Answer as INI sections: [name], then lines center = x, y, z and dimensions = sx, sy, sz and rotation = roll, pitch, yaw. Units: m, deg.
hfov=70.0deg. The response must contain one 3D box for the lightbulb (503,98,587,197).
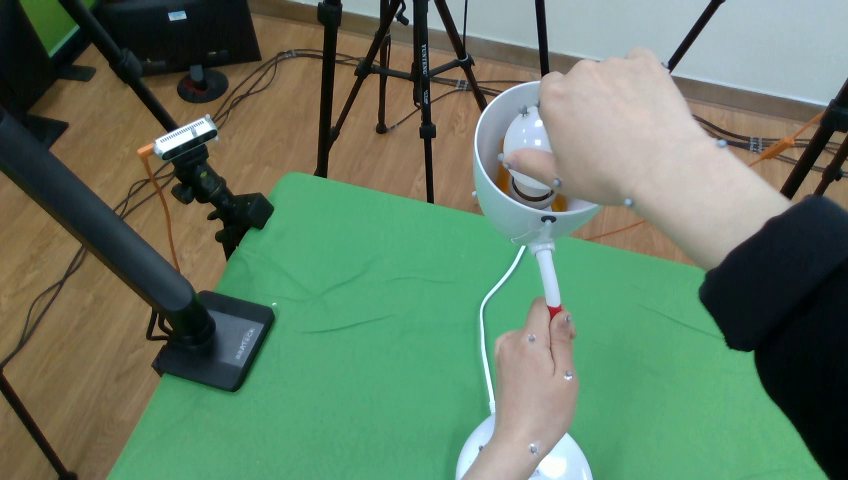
[lightbulb]
center = 0.085, -0.062, 0.455
dimensions = 0.059, 0.108, 0.059
rotation = 0, 69, -1

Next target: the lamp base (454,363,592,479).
[lamp base]
center = 0.110, 0.219, 0.647
dimensions = 0.161, 0.182, 0.177
rotation = -21, 57, -15

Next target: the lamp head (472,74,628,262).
[lamp head]
center = 0.089, -0.046, 0.477
dimensions = 0.112, 0.124, 0.111
rotation = 1, 62, -1
